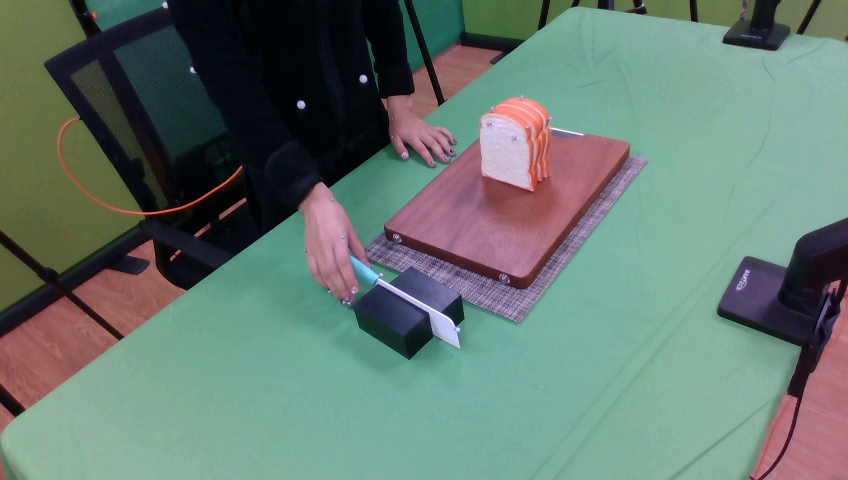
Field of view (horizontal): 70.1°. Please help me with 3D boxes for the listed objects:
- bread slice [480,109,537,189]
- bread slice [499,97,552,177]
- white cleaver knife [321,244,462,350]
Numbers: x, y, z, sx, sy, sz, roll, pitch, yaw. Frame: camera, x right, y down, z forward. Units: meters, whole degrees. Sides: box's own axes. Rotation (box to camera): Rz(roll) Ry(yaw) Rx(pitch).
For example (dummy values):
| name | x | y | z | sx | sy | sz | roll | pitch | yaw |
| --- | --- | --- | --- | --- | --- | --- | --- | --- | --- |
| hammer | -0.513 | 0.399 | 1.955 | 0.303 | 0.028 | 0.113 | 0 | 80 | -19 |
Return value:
| name | x | y | z | sx | sy | sz | roll | pitch | yaw |
| --- | --- | --- | --- | --- | --- | --- | --- | --- | --- |
| bread slice | 0.138 | -0.154 | 1.008 | 0.106 | 0.135 | 0.018 | 19 | 49 | 35 |
| bread slice | 0.172 | -0.179 | 1.034 | 0.104 | 0.132 | 0.019 | 24 | 45 | 31 |
| white cleaver knife | -0.056 | 0.079 | 0.868 | 0.284 | 0.066 | 0.021 | 28 | 47 | 37 |
